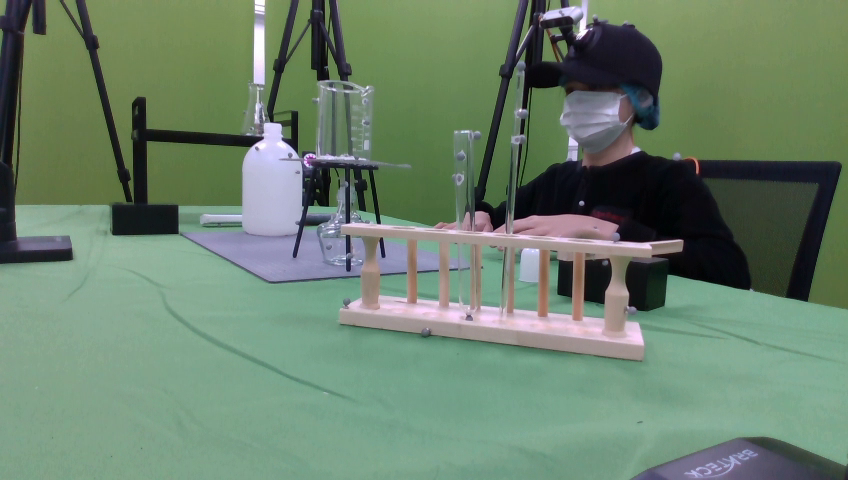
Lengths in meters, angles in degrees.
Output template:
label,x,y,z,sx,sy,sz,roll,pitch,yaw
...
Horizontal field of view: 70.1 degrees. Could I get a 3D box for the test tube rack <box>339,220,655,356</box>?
label,x,y,z,sx,sy,sz,roll,pitch,yaw
test tube rack,0.056,0.032,0.495,0.242,0.085,0.067,4,7,15

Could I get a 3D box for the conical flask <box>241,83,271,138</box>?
label,x,y,z,sx,sy,sz,roll,pitch,yaw
conical flask,-0.384,-0.297,1.393,0.075,0.122,0.075,2,7,0

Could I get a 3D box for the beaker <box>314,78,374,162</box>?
label,x,y,z,sx,sy,sz,roll,pitch,yaw
beaker,-0.101,-0.150,0.773,0.074,0.100,0.083,-2,8,-40

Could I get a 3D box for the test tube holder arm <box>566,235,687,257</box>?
label,x,y,z,sx,sy,sz,roll,pitch,yaw
test tube holder arm,0.215,0.006,0.630,0.179,0.015,0.013,-3,9,-31

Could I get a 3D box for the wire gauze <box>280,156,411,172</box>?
label,x,y,z,sx,sy,sz,roll,pitch,yaw
wire gauze,-0.103,-0.103,0.785,0.121,0.011,0.126,11,8,42

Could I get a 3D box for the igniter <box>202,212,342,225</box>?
label,x,y,z,sx,sy,sz,roll,pitch,yaw
igniter,-0.298,-0.043,1.216,0.278,0.025,0.057,-3,-2,-32

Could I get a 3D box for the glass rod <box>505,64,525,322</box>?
label,x,y,z,sx,sy,sz,roll,pitch,yaw
glass rod,0.069,-0.030,0.458,0.008,0.199,0.008,0,15,0

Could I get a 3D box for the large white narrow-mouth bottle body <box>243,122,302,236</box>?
label,x,y,z,sx,sy,sz,roll,pitch,yaw
large white narrow-mouth bottle body,-0.264,-0.109,1.061,0.102,0.194,0.102,2,8,0

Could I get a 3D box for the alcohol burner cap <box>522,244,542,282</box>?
label,x,y,z,sx,sy,sz,roll,pitch,yaw
alcohol burner cap,0.137,0.026,0.740,0.034,0.048,0.034,1,6,0

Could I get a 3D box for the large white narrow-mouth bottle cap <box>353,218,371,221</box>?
label,x,y,z,sx,sy,sz,roll,pitch,yaw
large white narrow-mouth bottle cap,-0.121,-0.029,1.184,0.038,0.024,0.037,2,8,0

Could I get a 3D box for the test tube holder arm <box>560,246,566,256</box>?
label,x,y,z,sx,sy,sz,roll,pitch,yaw
test tube holder arm,0.173,0.007,0.612,0.088,0.015,0.010,-3,9,-30

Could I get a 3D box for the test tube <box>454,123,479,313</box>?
label,x,y,z,sx,sy,sz,roll,pitch,yaw
test tube,0.034,-0.016,0.477,0.017,0.150,0.017,-2,9,1

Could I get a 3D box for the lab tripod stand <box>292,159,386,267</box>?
label,x,y,z,sx,sy,sz,roll,pitch,yaw
lab tripod stand,-0.105,-0.039,0.798,0.148,0.131,0.148,2,5,0

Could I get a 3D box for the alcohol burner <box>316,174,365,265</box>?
label,x,y,z,sx,sy,sz,roll,pitch,yaw
alcohol burner,-0.102,-0.028,0.790,0.078,0.119,0.078,0,6,0
